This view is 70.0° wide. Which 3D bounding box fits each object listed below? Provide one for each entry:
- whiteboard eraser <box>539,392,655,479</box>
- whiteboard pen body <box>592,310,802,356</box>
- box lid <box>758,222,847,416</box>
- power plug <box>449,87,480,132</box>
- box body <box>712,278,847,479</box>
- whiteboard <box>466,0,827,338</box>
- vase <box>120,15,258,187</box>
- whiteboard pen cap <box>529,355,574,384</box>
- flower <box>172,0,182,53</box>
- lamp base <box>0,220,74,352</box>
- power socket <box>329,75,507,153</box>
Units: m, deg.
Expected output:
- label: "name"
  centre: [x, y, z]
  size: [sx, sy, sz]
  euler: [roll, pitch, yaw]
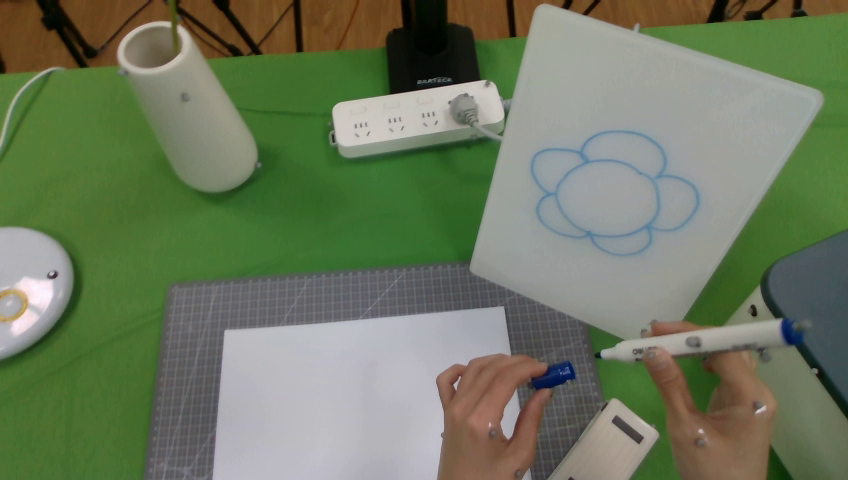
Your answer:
- label: "whiteboard eraser"
  centre: [0.159, 0.199, 0.560]
  size: [0.055, 0.042, 0.112]
  euler: [38, 70, 19]
- label: "whiteboard pen body"
  centre: [0.162, 0.061, 0.380]
  size: [0.017, 0.140, 0.017]
  euler: [12, 69, -33]
- label: "box lid"
  centre: [0.454, 0.123, 0.444]
  size: [0.263, 0.015, 0.368]
  euler: [-21, 64, -9]
- label: "power plug"
  centre: [0.048, -0.150, 0.725]
  size: [0.035, 0.053, 0.072]
  euler: [0, 69, 1]
- label: "box body"
  centre: [0.457, 0.160, 0.510]
  size: [0.254, 0.161, 0.360]
  euler: [-21, 64, -9]
- label: "whiteboard"
  centre: [0.193, -0.074, 0.590]
  size: [0.216, 0.308, 0.143]
  euler: [24, 45, 14]
- label: "vase"
  centre: [-0.251, -0.143, 0.659]
  size: [0.098, 0.201, 0.097]
  euler: [-1, 62, 2]
- label: "whiteboard pen cap"
  centre: [0.099, 0.100, 0.468]
  size: [0.033, 0.018, 0.018]
  euler: [-18, 61, 14]
- label: "flower"
  centre: [-0.233, -0.175, 0.583]
  size: [0.038, 0.362, 0.044]
  euler: [44, 62, 3]
- label: "lamp base"
  centre: [-0.478, 0.008, 0.595]
  size: [0.178, 0.182, 0.160]
  euler: [25, 65, 17]
- label: "power socket"
  centre: [-0.007, -0.158, 0.755]
  size: [0.227, 0.033, 0.071]
  euler: [-9, 64, -4]
